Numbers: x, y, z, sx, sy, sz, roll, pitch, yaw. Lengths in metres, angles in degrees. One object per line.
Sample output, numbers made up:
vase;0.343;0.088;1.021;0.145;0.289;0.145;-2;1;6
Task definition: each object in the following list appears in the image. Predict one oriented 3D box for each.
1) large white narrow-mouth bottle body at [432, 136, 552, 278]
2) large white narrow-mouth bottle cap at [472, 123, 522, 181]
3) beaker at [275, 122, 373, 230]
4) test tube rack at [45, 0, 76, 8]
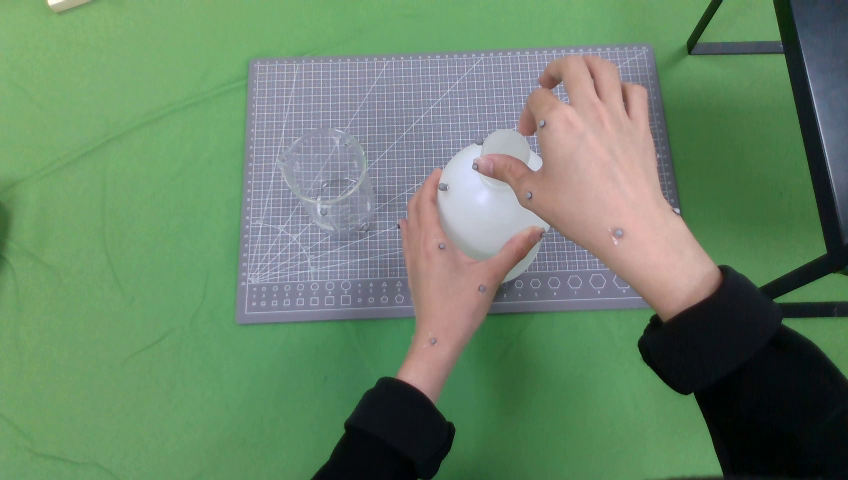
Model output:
large white narrow-mouth bottle body;0.058;-0.034;0.524;0.102;0.196;0.101;-1;74;3
large white narrow-mouth bottle cap;0.052;-0.061;0.431;0.038;0.024;0.037;-1;74;2
beaker;-0.091;-0.056;0.581;0.084;0.101;0.073;7;73;4
test tube rack;-0.335;-0.356;0.685;0.242;0.085;0.066;-23;74;-6
